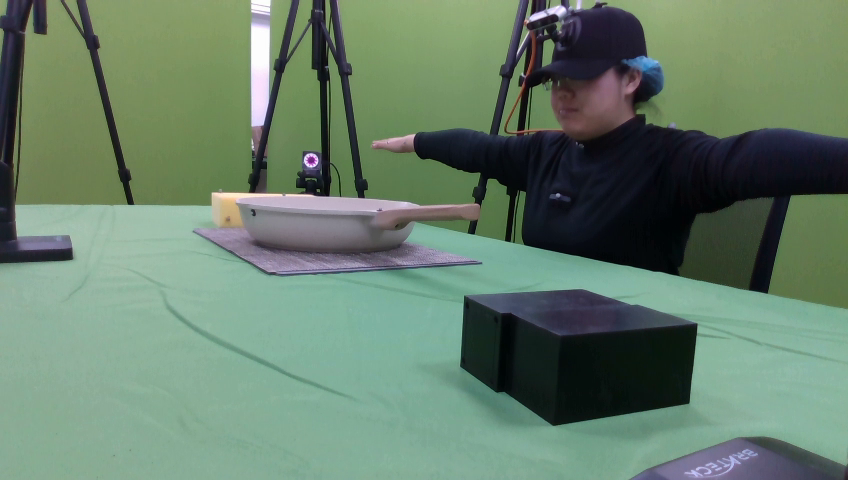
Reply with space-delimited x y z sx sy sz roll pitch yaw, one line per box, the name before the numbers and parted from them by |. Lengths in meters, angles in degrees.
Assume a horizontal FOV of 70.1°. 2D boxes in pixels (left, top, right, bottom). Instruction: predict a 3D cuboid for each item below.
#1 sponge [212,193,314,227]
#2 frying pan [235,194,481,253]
sponge | -0.317 -0.063 1.233 0.208 0.061 0.117 -2 8 -27
frying pan | -0.089 -0.034 0.891 0.308 0.102 0.485 -4 2 -36
